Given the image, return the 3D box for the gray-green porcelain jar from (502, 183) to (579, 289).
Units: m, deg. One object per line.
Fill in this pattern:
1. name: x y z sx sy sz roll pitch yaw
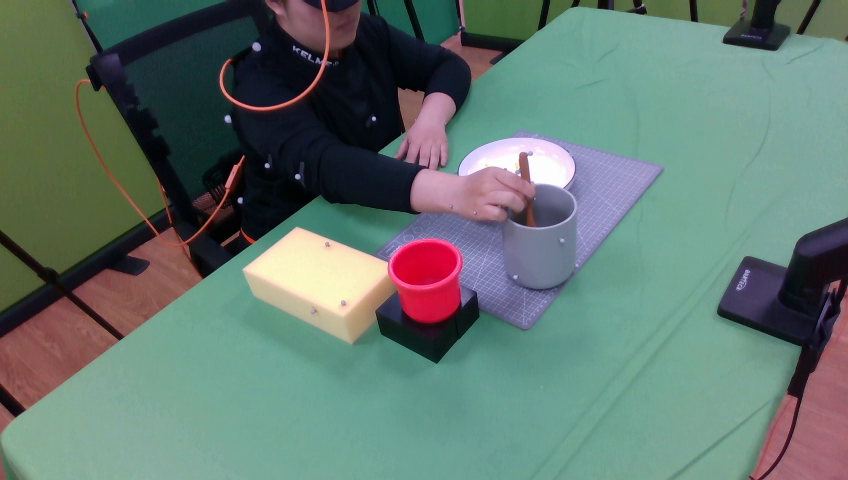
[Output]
1. gray-green porcelain jar: 0.167 -0.001 0.866 0.106 0.127 0.105 -5 40 5

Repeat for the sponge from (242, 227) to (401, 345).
1. sponge: -0.153 0.063 0.907 0.205 0.061 0.118 19 48 30

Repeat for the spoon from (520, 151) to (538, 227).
1. spoon: 0.146 -0.045 0.841 0.041 0.195 0.021 6 43 24

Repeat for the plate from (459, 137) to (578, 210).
1. plate: 0.166 -0.113 1.068 0.207 0.039 0.206 -5 40 5
